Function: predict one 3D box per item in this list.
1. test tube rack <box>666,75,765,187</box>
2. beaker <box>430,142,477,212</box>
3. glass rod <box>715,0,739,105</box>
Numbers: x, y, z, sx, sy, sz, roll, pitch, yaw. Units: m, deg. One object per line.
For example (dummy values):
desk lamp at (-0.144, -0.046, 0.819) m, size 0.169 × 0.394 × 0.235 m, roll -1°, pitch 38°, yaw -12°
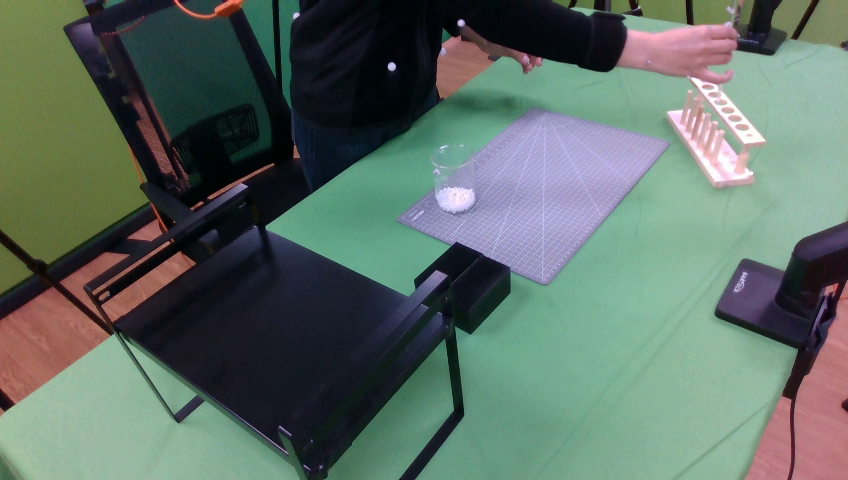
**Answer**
test tube rack at (0.512, -0.201, 1.082) m, size 0.067 × 0.085 × 0.241 m, roll -5°, pitch 41°, yaw 2°
beaker at (0.050, -0.106, 1.026) m, size 0.074 × 0.101 × 0.083 m, roll -27°, pitch 44°, yaw -21°
glass rod at (0.480, -0.296, 0.961) m, size 0.008 × 0.201 × 0.008 m, roll -8°, pitch 48°, yaw 9°
